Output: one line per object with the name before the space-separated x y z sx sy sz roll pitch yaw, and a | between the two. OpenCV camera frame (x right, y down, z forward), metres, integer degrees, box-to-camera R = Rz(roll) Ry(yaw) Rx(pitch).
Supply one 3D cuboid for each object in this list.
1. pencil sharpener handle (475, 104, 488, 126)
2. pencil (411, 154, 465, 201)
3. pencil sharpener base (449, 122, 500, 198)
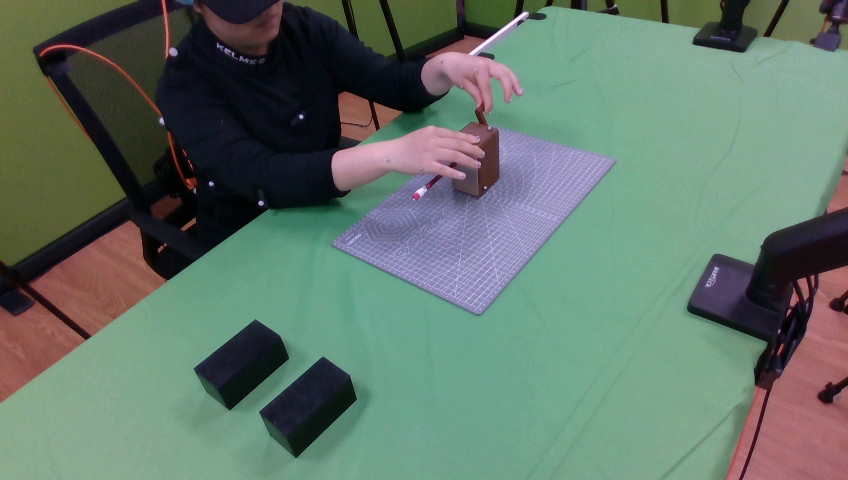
pencil sharpener handle | 0.110 -0.203 1.058 0.035 0.068 0.031 -1 35 44
pencil | 0.039 -0.117 0.986 0.012 0.012 0.194 21 46 30
pencil sharpener base | 0.090 -0.140 1.052 0.061 0.107 0.077 20 47 29
